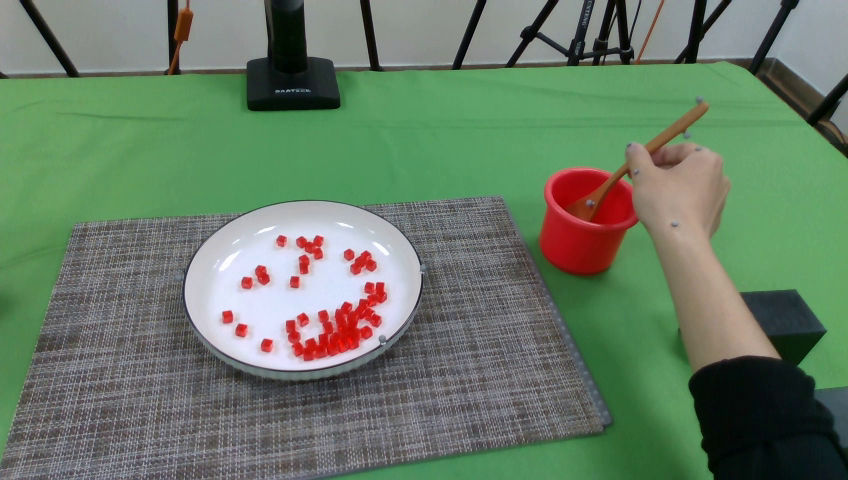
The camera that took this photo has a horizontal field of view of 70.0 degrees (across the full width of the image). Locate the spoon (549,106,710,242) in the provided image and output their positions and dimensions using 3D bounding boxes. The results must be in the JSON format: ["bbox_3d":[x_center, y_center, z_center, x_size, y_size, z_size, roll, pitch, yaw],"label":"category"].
[{"bbox_3d":[0.194,-0.060,0.588,0.022,0.194,0.041,21,42,-25],"label":"spoon"}]

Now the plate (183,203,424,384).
[{"bbox_3d":[-0.104,0.046,0.548,0.208,0.039,0.205,4,43,-3],"label":"plate"}]
